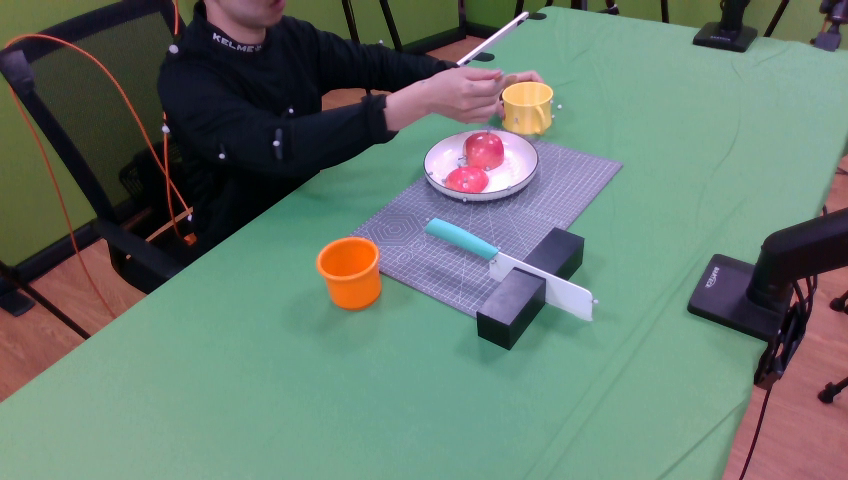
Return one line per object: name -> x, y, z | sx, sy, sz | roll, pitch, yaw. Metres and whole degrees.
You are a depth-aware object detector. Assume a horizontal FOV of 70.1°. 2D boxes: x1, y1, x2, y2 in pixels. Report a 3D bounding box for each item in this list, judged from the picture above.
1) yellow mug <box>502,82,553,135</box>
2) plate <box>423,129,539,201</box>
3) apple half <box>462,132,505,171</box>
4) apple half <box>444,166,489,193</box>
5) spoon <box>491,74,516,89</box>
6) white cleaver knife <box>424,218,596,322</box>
yellow mug -> 0.213, -0.256, 1.203 | 0.100, 0.064, 0.130 | -17, 42, -9
plate -> 0.102, -0.132, 1.092 | 0.209, 0.038, 0.208 | -4, 40, 4
apple half -> 0.110, -0.170, 1.110 | 0.075, 0.053, 0.080 | -6, 40, -2
apple half -> 0.075, -0.112, 1.062 | 0.081, 0.033, 0.081 | -6, 39, 5
spoon -> 0.126, -0.264, 0.997 | 0.041, 0.021, 0.194 | -23, 4, 18
white cleaver knife -> 0.114, 0.042, 0.865 | 0.284, 0.066, 0.021 | 27, 47, 28
